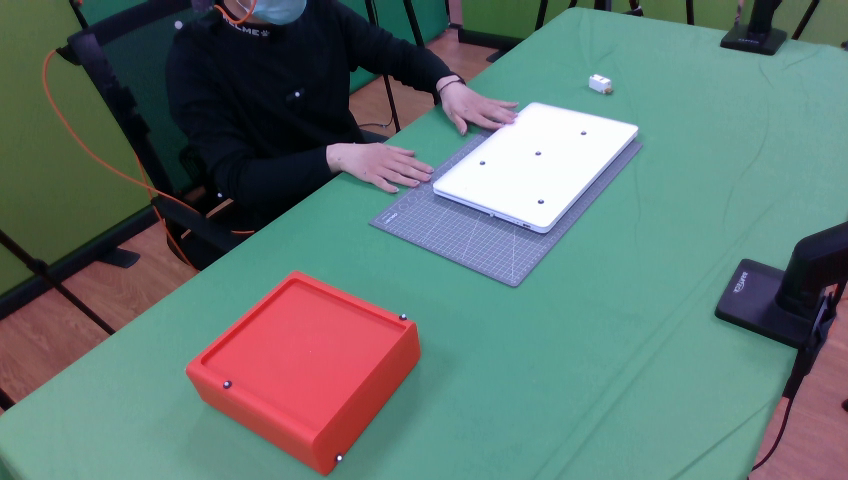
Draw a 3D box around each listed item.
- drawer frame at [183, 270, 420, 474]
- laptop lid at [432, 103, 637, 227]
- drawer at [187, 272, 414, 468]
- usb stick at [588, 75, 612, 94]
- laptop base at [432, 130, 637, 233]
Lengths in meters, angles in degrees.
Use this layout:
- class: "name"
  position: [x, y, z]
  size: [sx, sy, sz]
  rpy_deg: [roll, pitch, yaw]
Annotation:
- class: "drawer frame"
  position: [-0.149, 0.153, 0.767]
  size: [0.212, 0.083, 0.202]
  rpy_deg: [20, 46, 27]
- class: "laptop lid"
  position: [0.207, -0.154, 1.103]
  size: [0.239, 0.013, 0.358]
  rpy_deg: [24, 49, 33]
- class: "drawer"
  position: [-0.150, 0.154, 0.768]
  size: [0.210, 0.073, 0.195]
  rpy_deg: [20, 46, 28]
- class: "usb stick"
  position: [0.381, -0.333, 1.304]
  size: [0.021, 0.027, 0.058]
  rpy_deg: [-25, 46, -22]
- class: "laptop base"
  position: [0.210, -0.142, 1.111]
  size: [0.233, 0.023, 0.355]
  rpy_deg: [21, 48, 33]
